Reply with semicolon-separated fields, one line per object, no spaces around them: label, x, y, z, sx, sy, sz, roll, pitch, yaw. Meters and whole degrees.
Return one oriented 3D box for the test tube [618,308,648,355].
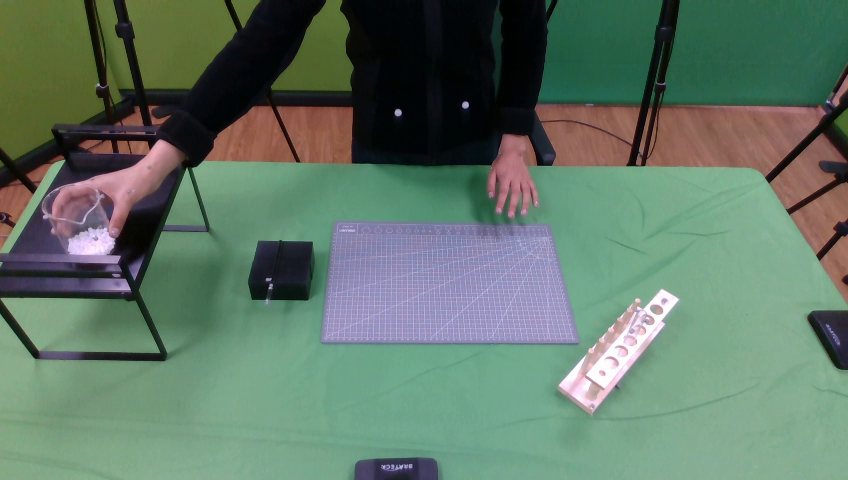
test tube;0.326;0.155;0.955;0.017;0.151;0.017;-1;50;1

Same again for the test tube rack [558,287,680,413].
test tube rack;0.326;0.170;1.009;0.066;0.085;0.242;36;54;26

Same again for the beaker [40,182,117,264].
beaker;-0.491;-0.020;0.873;0.074;0.101;0.083;-26;55;-26

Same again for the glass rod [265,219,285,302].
glass rod;-0.266;0.031;1.084;0.008;0.008;0.198;1;46;-3
